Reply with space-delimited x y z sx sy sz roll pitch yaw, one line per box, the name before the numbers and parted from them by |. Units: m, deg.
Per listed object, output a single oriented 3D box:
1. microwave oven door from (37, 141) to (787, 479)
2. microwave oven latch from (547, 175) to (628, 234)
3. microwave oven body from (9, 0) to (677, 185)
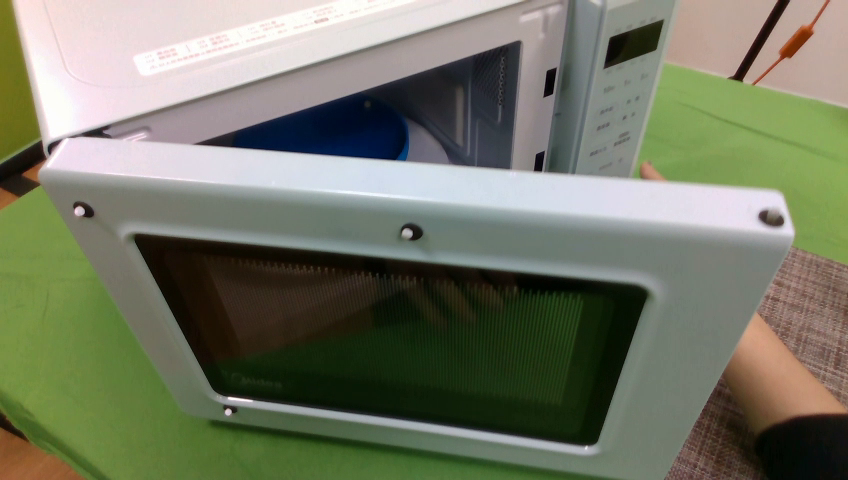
microwave oven door | -0.014 0.056 0.367 0.355 0.246 0.039 5 45 8
microwave oven latch | 0.161 -0.034 0.597 0.079 0.030 0.030 -19 48 -15
microwave oven body | -0.071 -0.122 0.557 0.442 0.262 0.322 -24 49 -19
